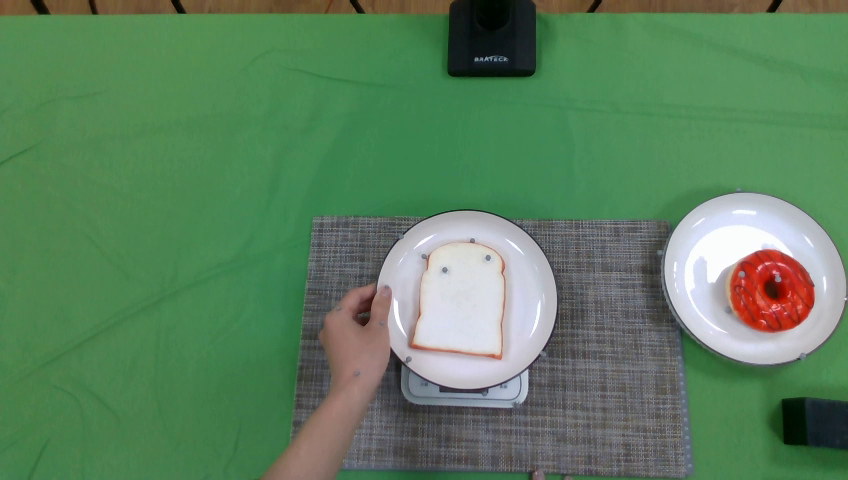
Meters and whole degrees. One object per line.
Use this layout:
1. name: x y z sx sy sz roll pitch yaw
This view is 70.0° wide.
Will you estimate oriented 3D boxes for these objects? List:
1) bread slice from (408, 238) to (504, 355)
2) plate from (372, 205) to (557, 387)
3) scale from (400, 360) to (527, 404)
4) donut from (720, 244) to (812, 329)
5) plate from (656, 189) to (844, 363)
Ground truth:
1. bread slice: 0.040 0.062 0.697 0.105 0.019 0.131 5 75 3
2. plate: 0.046 0.063 0.694 0.209 0.038 0.208 -1 75 3
3. scale: 0.048 0.090 0.721 0.148 0.032 0.200 1 75 4
4. donut: 0.394 0.054 0.700 0.099 0.048 0.098 0 78 2
5. plate: 0.378 0.042 0.716 0.207 0.039 0.206 -1 74 3
